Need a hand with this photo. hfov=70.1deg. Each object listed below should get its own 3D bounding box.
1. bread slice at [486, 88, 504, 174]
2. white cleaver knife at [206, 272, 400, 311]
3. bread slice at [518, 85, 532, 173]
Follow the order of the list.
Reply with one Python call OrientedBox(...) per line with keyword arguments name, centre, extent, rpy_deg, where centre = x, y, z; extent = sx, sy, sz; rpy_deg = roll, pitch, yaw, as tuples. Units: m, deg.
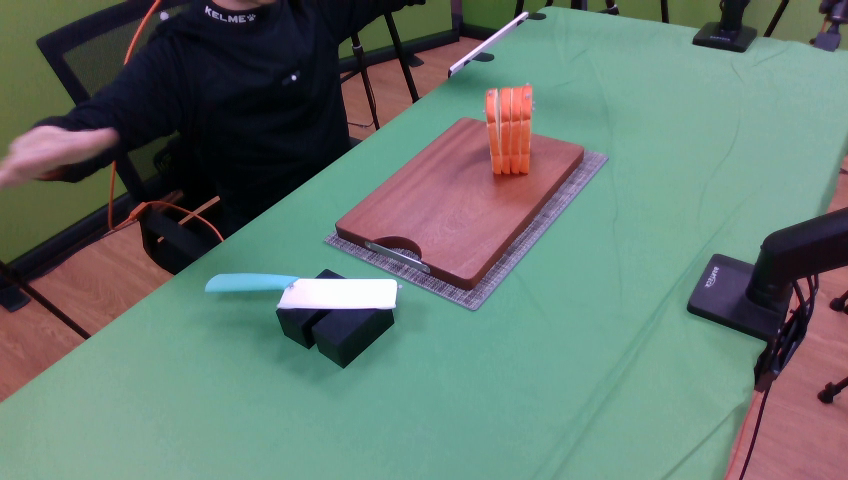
OrientedBox(name="bread slice", centre=(0.124, -0.197, 1.054), extent=(0.019, 0.132, 0.104), rpy_deg=(-4, 39, 12))
OrientedBox(name="white cleaver knife", centre=(-0.174, 0.071, 0.846), extent=(0.286, 0.021, 0.065), rpy_deg=(0, 40, 11))
OrientedBox(name="bread slice", centre=(0.175, -0.196, 1.044), extent=(0.018, 0.135, 0.106), rpy_deg=(3, 44, 7))
